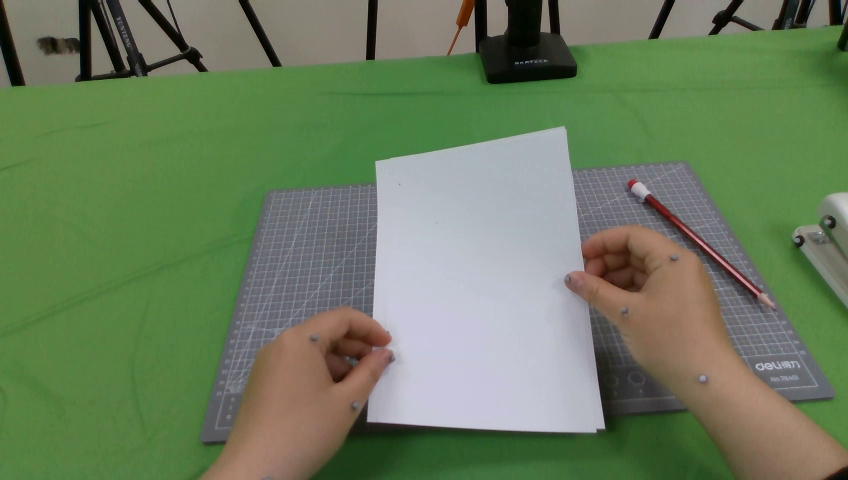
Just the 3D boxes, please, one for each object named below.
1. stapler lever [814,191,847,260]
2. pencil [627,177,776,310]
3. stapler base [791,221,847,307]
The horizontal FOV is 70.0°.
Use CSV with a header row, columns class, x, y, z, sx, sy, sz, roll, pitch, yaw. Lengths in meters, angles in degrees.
class,x,y,z,sx,sy,sz,roll,pitch,yaw
stapler lever,0.356,0.006,0.486,0.027,0.040,0.117,-8,42,1
pencil,0.243,-0.003,0.547,0.012,0.012,0.191,-17,44,-14
stapler base,0.357,0.023,0.504,0.041,0.025,0.129,-7,43,1
